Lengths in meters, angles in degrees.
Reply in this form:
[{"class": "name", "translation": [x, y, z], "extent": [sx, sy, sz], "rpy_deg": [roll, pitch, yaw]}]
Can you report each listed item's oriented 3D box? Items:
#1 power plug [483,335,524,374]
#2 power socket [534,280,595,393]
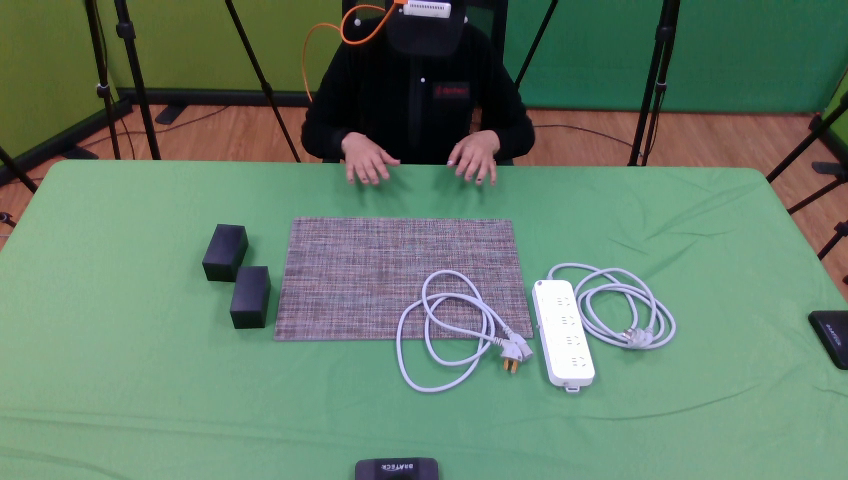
[{"class": "power plug", "translation": [0.132, 0.193, 1.019], "extent": [0.072, 0.035, 0.052], "rpy_deg": [7, 68, 25]}, {"class": "power socket", "translation": [0.241, 0.158, 1.054], "extent": [0.072, 0.033, 0.225], "rpy_deg": [1, 46, -3]}]
